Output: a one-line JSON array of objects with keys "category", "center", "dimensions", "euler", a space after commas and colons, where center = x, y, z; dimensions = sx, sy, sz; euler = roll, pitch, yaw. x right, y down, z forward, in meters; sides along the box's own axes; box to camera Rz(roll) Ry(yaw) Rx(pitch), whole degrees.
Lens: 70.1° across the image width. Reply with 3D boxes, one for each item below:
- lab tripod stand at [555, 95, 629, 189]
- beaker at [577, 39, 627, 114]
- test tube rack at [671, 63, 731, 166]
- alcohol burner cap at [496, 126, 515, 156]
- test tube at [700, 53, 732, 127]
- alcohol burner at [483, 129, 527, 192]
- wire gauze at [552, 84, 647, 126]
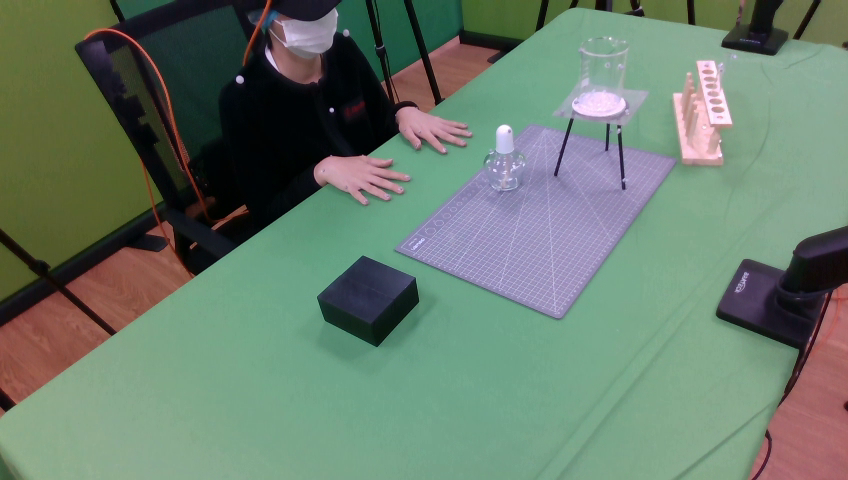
[{"category": "lab tripod stand", "center": [0.300, -0.174, 1.045], "dimensions": [0.148, 0.132, 0.147], "euler": [-5, 38, 5]}, {"category": "beaker", "center": [0.286, -0.264, 0.976], "dimensions": [0.073, 0.100, 0.084], "euler": [25, 49, 33]}, {"category": "test tube rack", "center": [0.513, -0.241, 1.132], "dimensions": [0.066, 0.085, 0.242], "euler": [4, 41, 14]}, {"category": "alcohol burner cap", "center": [0.138, -0.172, 1.028], "dimensions": [0.034, 0.048, 0.033], "euler": [-5, 38, 5]}, {"category": "test tube", "center": [0.521, -0.265, 1.081], "dimensions": [0.017, 0.151, 0.017], "euler": [-3, 47, 3]}, {"category": "alcohol burner", "center": [0.141, -0.144, 1.050], "dimensions": [0.078, 0.119, 0.077], "euler": [-4, 42, 4]}, {"category": "wire gauze", "center": [0.293, -0.224, 1.004], "dimensions": [0.120, 0.011, 0.125], "euler": [19, 43, 26]}]
